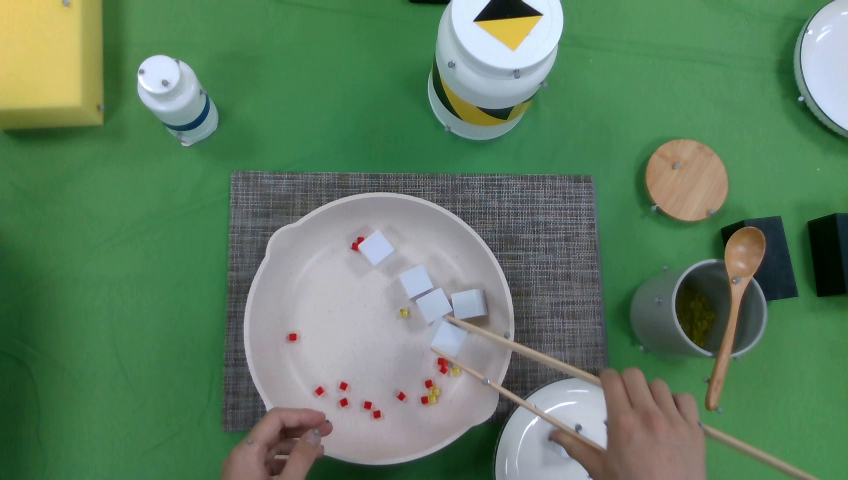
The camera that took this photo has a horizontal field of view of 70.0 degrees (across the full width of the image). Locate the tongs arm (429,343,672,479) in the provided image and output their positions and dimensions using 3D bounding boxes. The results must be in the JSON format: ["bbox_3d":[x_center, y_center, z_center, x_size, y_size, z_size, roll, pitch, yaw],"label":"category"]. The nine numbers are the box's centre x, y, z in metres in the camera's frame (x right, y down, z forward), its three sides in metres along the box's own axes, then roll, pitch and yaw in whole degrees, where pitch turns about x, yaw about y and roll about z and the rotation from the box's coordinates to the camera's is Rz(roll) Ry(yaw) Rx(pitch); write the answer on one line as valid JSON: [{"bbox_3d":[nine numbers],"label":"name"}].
[{"bbox_3d":[0.167,0.167,0.548,0.381,0.027,0.050,27,78,31],"label":"tongs arm"}]

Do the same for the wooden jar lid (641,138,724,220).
[{"bbox_3d":[0.330,-0.077,0.779,0.108,0.021,0.108,1,82,-5],"label":"wooden jar lid"}]

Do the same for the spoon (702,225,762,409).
[{"bbox_3d":[0.313,0.079,0.626,0.042,0.021,0.193,16,83,-5],"label":"spoon"}]

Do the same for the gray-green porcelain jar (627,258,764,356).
[{"bbox_3d":[0.301,0.081,0.695,0.106,0.127,0.105,1,80,-5],"label":"gray-green porcelain jar"}]

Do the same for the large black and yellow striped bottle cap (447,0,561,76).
[{"bbox_3d":[0.081,-0.223,0.611,0.115,0.019,0.114,1,82,-5],"label":"large black and yellow striped bottle cap"}]

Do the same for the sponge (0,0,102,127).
[{"bbox_3d":[-0.453,-0.242,0.710,0.118,0.061,0.206,-5,82,-7],"label":"sponge"}]

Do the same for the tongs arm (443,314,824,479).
[{"bbox_3d":[0.178,0.147,0.553,0.384,0.028,0.028,22,72,30],"label":"tongs arm"}]

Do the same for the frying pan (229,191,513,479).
[{"bbox_3d":[-0.114,0.167,0.649,0.306,0.103,0.487,40,71,3],"label":"frying pan"}]

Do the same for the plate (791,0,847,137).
[{"bbox_3d":[0.591,-0.230,0.819,0.209,0.038,0.208,1,80,-5],"label":"plate"}]

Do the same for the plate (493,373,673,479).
[{"bbox_3d":[0.180,0.257,0.697,0.208,0.039,0.207,1,82,-5],"label":"plate"}]

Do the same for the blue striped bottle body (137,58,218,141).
[{"bbox_3d":[-0.279,-0.161,0.683,0.063,0.121,0.063,1,80,-5],"label":"blue striped bottle body"}]

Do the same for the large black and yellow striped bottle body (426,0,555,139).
[{"bbox_3d":[0.073,-0.207,0.693,0.131,0.184,0.130,1,79,-5],"label":"large black and yellow striped bottle body"}]

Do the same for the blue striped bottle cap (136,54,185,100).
[{"bbox_3d":[-0.275,-0.171,0.633,0.044,0.020,0.044,1,82,-6],"label":"blue striped bottle cap"}]
